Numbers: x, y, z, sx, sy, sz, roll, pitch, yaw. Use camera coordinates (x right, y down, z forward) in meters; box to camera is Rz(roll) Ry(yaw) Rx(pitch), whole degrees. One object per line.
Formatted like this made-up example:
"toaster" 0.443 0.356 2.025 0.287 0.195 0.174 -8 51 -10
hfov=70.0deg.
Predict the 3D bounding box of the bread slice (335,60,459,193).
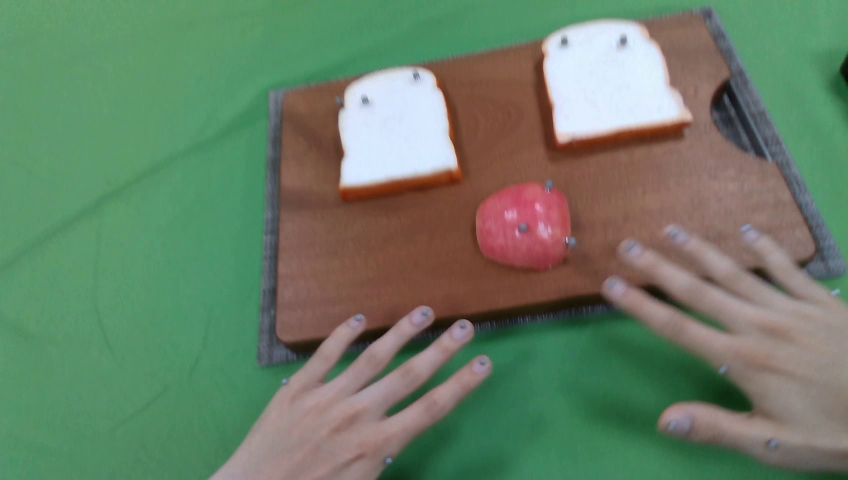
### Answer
"bread slice" -0.030 -0.105 0.533 0.105 0.019 0.130 -10 61 3

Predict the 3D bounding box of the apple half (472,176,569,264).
"apple half" 0.073 -0.022 0.459 0.081 0.033 0.080 -3 62 6

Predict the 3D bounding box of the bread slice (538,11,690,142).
"bread slice" 0.150 -0.144 0.520 0.107 0.018 0.133 -11 59 4
